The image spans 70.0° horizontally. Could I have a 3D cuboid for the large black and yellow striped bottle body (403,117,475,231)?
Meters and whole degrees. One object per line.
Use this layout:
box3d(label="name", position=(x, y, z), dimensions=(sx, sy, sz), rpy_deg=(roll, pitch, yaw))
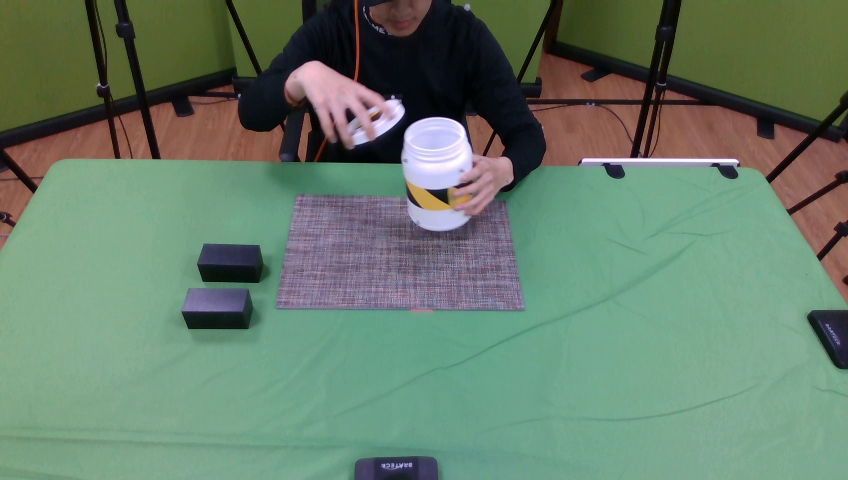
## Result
box3d(label="large black and yellow striped bottle body", position=(0.030, -0.123, 1.133), dimensions=(0.131, 0.185, 0.130), rpy_deg=(-3, 43, 3))

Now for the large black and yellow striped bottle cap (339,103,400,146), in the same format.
box3d(label="large black and yellow striped bottle cap", position=(-0.096, -0.204, 1.063), dimensions=(0.115, 0.019, 0.114), rpy_deg=(-23, 28, 13))
